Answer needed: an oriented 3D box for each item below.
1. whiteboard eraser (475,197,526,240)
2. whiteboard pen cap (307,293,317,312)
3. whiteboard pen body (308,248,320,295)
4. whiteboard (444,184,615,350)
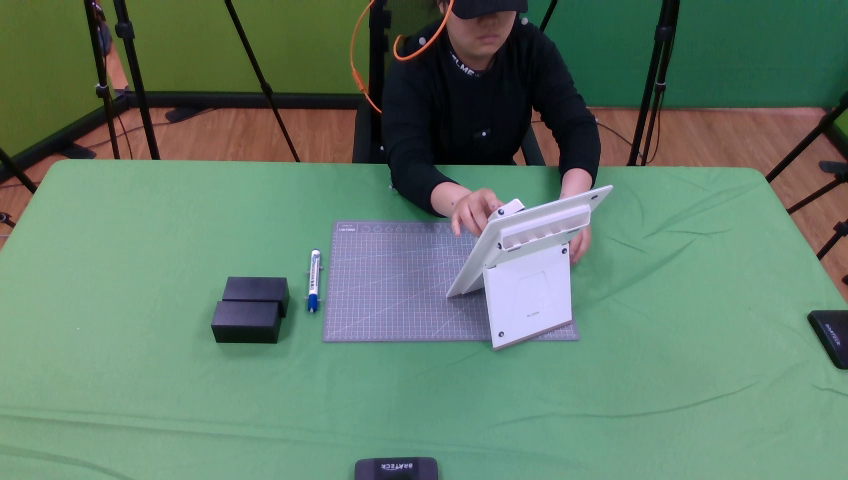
[{"bbox_3d":[0.126,-0.022,0.993,0.055,0.113,0.041,-23,71,-23],"label":"whiteboard eraser"},{"bbox_3d":[-0.199,0.110,1.078,0.018,0.018,0.033,-2,47,-5],"label":"whiteboard pen cap"},{"bbox_3d":[-0.204,0.069,1.119,0.017,0.017,0.140,-1,46,-5],"label":"whiteboard pen body"},{"bbox_3d":[0.186,0.065,0.989,0.217,0.306,0.143,-15,68,-18],"label":"whiteboard"}]
